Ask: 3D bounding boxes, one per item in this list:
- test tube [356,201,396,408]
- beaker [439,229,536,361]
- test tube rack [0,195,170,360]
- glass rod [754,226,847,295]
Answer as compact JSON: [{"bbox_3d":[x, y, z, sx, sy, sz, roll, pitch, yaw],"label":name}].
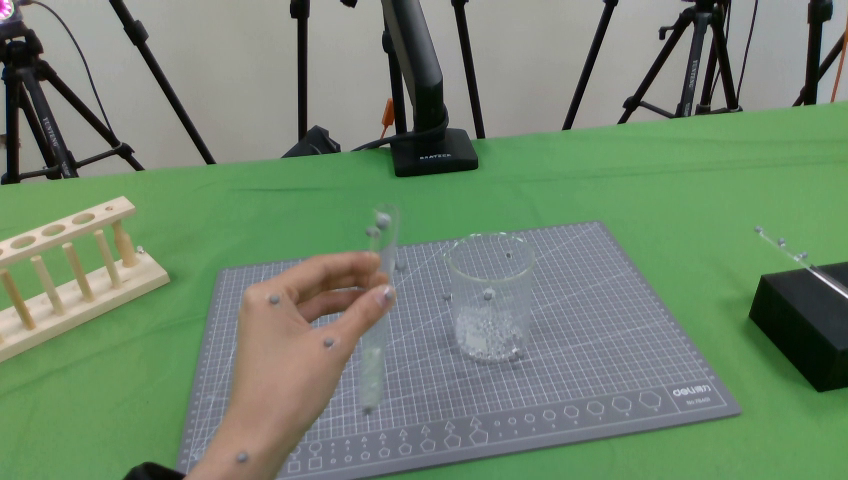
[{"bbox_3d":[-0.031,0.046,0.380,0.017,0.151,0.017,6,27,-3],"label":"test tube"},{"bbox_3d":[0.056,0.051,0.541,0.084,0.101,0.073,5,35,14],"label":"beaker"},{"bbox_3d":[-0.393,0.048,0.599,0.242,0.086,0.066,-30,43,-33],"label":"test tube rack"},{"bbox_3d":[0.364,0.039,0.530,0.008,0.008,0.197,-13,35,-13],"label":"glass rod"}]
